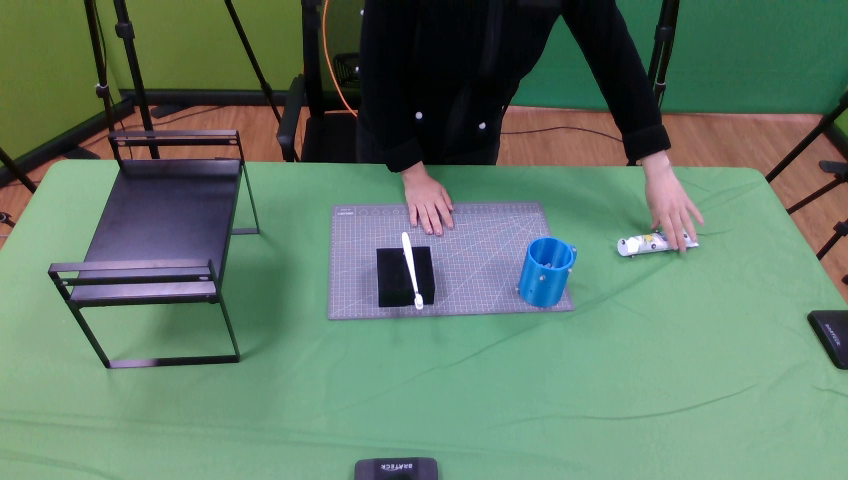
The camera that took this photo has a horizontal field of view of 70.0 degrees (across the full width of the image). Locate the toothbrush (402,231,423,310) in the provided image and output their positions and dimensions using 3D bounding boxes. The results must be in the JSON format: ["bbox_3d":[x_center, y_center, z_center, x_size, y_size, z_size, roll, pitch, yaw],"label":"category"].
[{"bbox_3d":[-0.022,0.049,1.080,0.014,0.017,0.180,-9,47,-5],"label":"toothbrush"}]

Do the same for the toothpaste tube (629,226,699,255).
[{"bbox_3d":[0.475,0.003,1.223,0.165,0.034,0.054,-10,52,-18],"label":"toothpaste tube"}]

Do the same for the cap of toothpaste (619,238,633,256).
[{"bbox_3d":[0.400,0.013,1.199,0.011,0.037,0.037,-9,48,-18],"label":"cap of toothpaste"}]

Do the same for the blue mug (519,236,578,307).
[{"bbox_3d":[0.234,0.052,1.102,0.116,0.106,0.082,-23,52,-24],"label":"blue mug"}]
